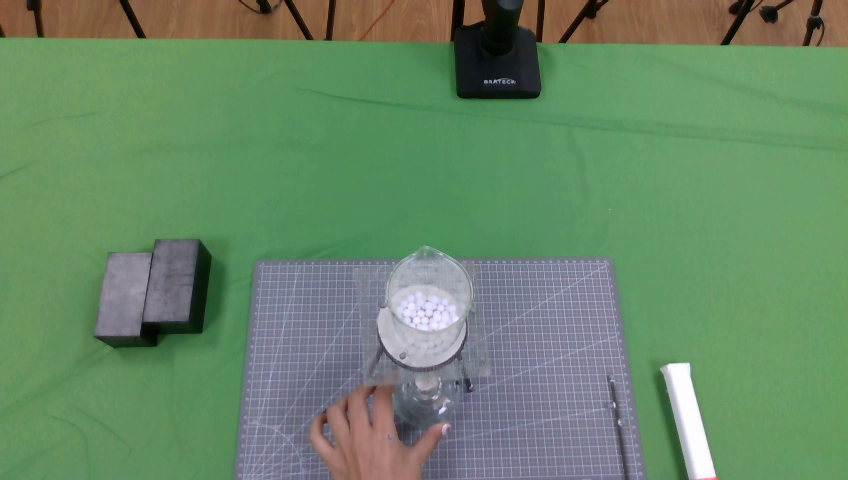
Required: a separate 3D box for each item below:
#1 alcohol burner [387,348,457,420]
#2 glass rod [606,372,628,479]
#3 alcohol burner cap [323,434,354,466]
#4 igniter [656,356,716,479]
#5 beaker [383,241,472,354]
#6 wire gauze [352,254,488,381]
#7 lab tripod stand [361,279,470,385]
[{"bbox_3d":[-0.002,0.150,0.646,0.078,0.120,0.077,1,65,-1],"label":"alcohol burner"},{"bbox_3d":[0.220,0.247,0.675,0.008,0.008,0.198,-1,68,-4],"label":"glass rod"},{"bbox_3d":[-0.092,0.223,0.650,0.034,0.048,0.033,1,67,-2],"label":"alcohol burner cap"},{"bbox_3d":[0.303,0.265,0.665,0.057,0.025,0.274,1,67,-17],"label":"igniter"},{"bbox_3d":[0.001,0.056,0.550,0.074,0.101,0.083,-4,66,-4],"label":"beaker"},{"bbox_3d":[-0.006,0.074,0.595,0.125,0.011,0.120,-5,66,-3],"label":"wire gauze"},{"bbox_3d":[-0.008,0.102,0.655,0.148,0.132,0.147,1,66,-1],"label":"lab tripod stand"}]
